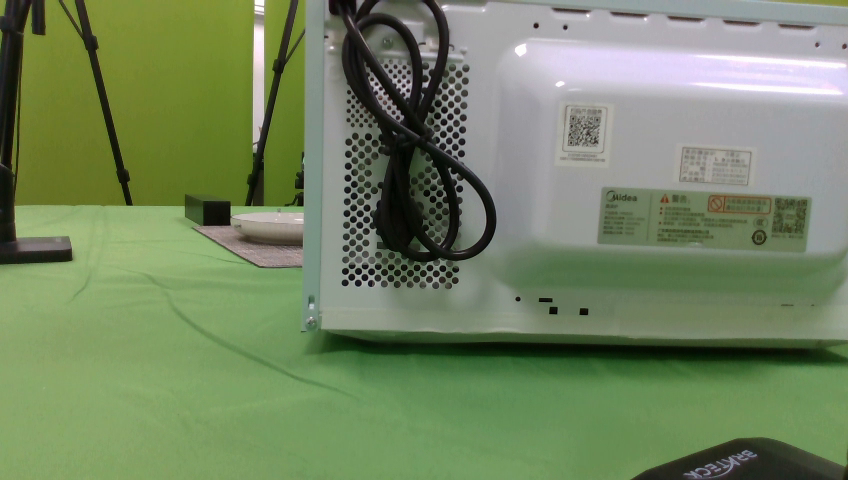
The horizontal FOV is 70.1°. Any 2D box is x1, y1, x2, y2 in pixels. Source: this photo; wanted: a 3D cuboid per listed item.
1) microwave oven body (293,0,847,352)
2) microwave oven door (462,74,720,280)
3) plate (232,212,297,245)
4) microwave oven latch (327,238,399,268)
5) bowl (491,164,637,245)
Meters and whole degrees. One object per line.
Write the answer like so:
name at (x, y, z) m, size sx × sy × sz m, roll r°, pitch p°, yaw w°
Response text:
microwave oven body at (0.122, -0.055, 0.550) m, size 0.442 × 0.260 × 0.325 m, roll 3°, pitch 7°, yaw -5°
microwave oven door at (0.203, -0.092, 0.825) m, size 0.354 × 0.243 × 0.039 m, roll 9°, pitch 10°, yaw 43°
plate at (-0.214, -0.019, 1.018) m, size 0.208 × 0.039 × 0.207 m, roll 2°, pitch 7°, yaw 0°
microwave oven latch at (-0.069, 0.015, 0.694) m, size 0.079 × 0.029 × 0.030 m, roll 3°, pitch 7°, yaw -3°
bowl at (0.143, -0.038, 0.638) m, size 0.151 × 0.077 × 0.151 m, roll 2°, pitch 9°, yaw 0°
